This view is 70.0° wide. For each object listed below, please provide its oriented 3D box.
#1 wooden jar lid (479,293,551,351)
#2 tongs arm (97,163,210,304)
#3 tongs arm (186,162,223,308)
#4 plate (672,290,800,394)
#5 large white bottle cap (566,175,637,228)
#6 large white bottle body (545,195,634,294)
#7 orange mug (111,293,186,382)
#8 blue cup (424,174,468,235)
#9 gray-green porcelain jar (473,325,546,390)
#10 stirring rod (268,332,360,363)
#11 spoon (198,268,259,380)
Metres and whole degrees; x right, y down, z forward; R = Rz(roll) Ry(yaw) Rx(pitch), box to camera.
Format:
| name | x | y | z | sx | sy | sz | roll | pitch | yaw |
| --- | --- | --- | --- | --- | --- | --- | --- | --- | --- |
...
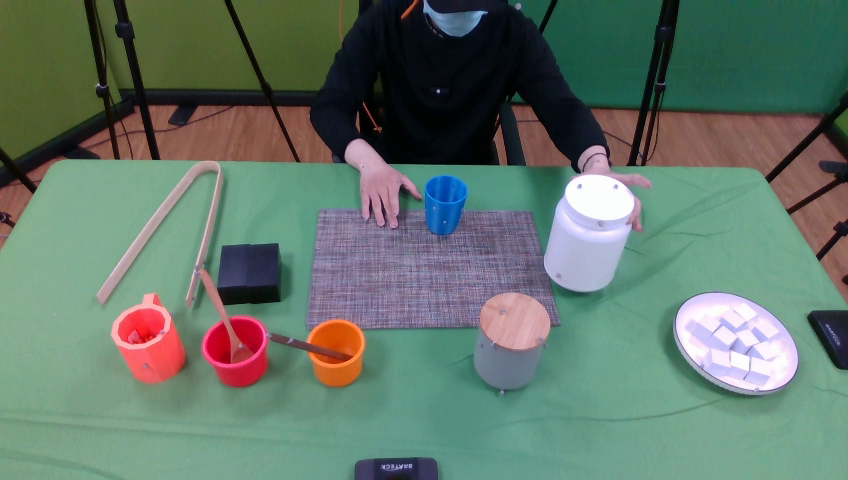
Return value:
| name | x | y | z | sx | sy | sz | roll | pitch | yaw |
| --- | --- | --- | --- | --- | --- | --- | --- | --- | --- |
| wooden jar lid | 0.138 | 0.127 | 0.925 | 0.108 | 0.021 | 0.107 | 1 | 47 | -1 |
| tongs arm | -0.520 | -0.028 | 1.183 | 0.028 | 0.028 | 0.385 | 5 | 45 | 12 |
| tongs arm | -0.436 | -0.024 | 1.181 | 0.051 | 0.026 | 0.382 | -2 | 45 | 0 |
| plate | 0.533 | 0.178 | 1.050 | 0.208 | 0.039 | 0.206 | 2 | 46 | -2 |
| large white bottle cap | 0.295 | -0.066 | 1.010 | 0.115 | 0.018 | 0.114 | 1 | 47 | -1 |
| large white bottle body | 0.293 | -0.008 | 1.072 | 0.130 | 0.185 | 0.130 | 1 | 46 | -1 |
| orange mug | -0.435 | 0.149 | 0.969 | 0.083 | 0.101 | 0.125 | -5 | 51 | -9 |
| blue cup | 0.039 | -0.065 | 1.201 | 0.093 | 0.101 | 0.092 | 3 | 46 | -3 |
| gray-green porcelain jar | 0.135 | 0.170 | 0.969 | 0.106 | 0.127 | 0.105 | 2 | 46 | -2 |
| stirring rod | -0.167 | 0.169 | 0.941 | 0.177 | 0.006 | 0.014 | 26 | 27 | -41 |
| spoon | -0.313 | 0.133 | 0.962 | 0.041 | 0.021 | 0.194 | -24 | 96 | -21 |
